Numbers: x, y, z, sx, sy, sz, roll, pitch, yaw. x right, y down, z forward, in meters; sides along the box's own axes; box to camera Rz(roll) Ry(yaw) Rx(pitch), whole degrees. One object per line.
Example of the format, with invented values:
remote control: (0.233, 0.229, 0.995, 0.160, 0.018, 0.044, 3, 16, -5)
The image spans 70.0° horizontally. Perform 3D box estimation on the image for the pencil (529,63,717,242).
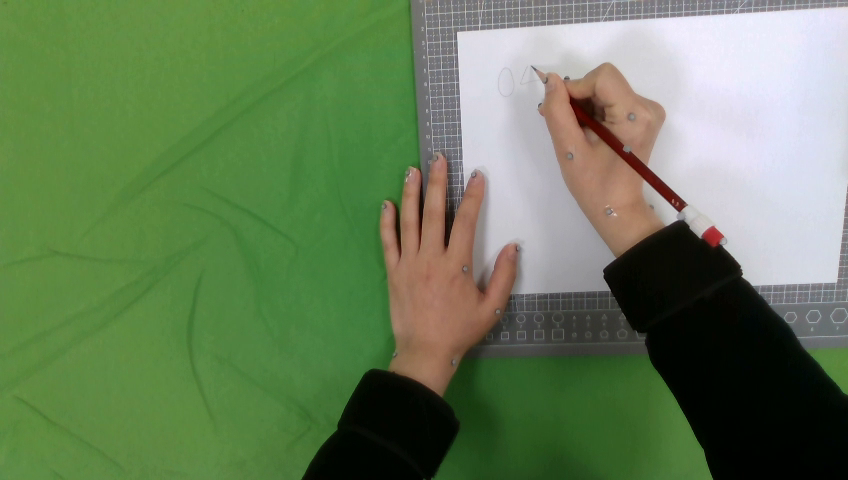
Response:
pencil: (0.126, -0.068, 0.410, 0.012, 0.012, 0.192, -42, 57, 12)
